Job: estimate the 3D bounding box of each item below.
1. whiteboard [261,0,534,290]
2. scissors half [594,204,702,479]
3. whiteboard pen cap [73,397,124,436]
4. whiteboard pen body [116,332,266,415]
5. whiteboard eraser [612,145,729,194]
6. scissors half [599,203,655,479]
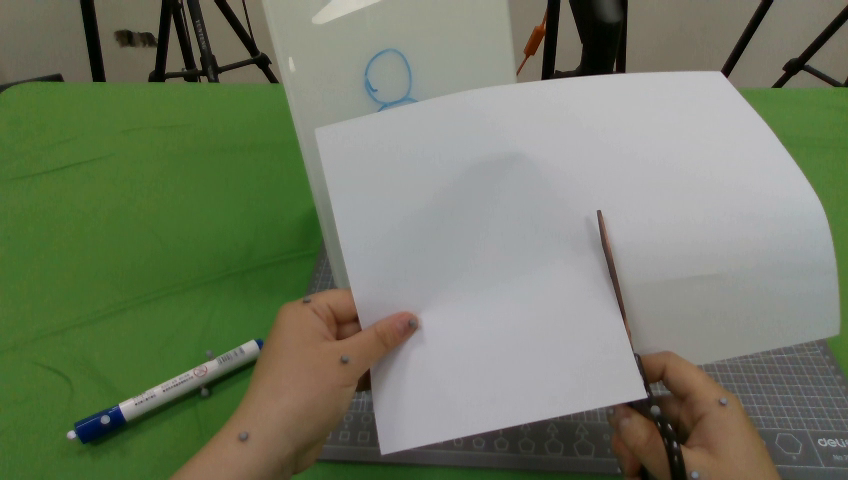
[{"bbox_3d":[-0.035,-0.144,0.597,0.218,0.307,0.142,-18,22,-17],"label":"whiteboard"},{"bbox_3d":[0.124,0.062,0.348,0.013,0.040,0.174,-11,77,-16],"label":"scissors half"},{"bbox_3d":[-0.238,0.129,0.446,0.033,0.018,0.018,-26,46,-27],"label":"whiteboard pen cap"},{"bbox_3d":[-0.191,0.108,0.473,0.141,0.017,0.017,-25,45,-28],"label":"whiteboard pen body"},{"bbox_3d":[0.270,-0.078,0.668,0.113,0.042,0.055,0,42,0],"label":"whiteboard eraser"},{"bbox_3d":[0.118,0.065,0.368,0.013,0.175,0.040,-10,7,-21],"label":"scissors half"}]
